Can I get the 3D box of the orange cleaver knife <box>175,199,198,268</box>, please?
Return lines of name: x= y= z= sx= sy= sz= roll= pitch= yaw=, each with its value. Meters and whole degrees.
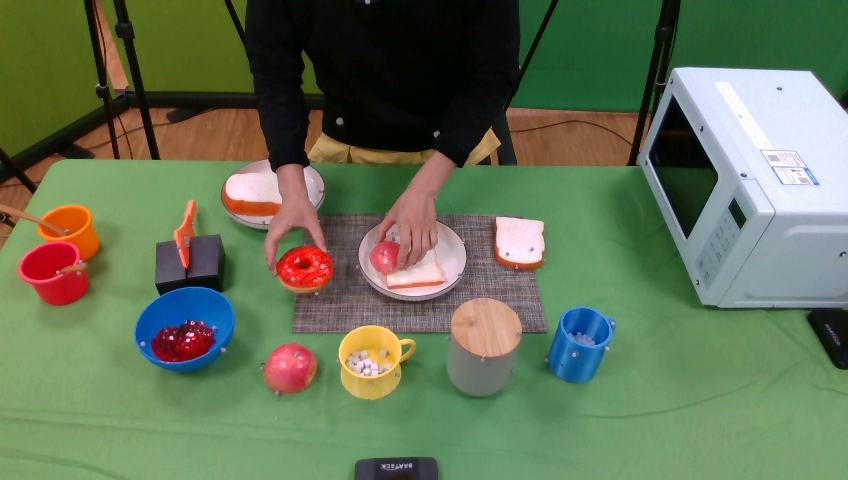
orange cleaver knife: x=-0.438 y=-0.017 z=1.138 sx=0.012 sy=0.077 sz=0.210 roll=-14 pitch=27 yaw=-7

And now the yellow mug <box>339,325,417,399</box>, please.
yellow mug: x=-0.072 y=0.190 z=0.978 sx=0.131 sy=0.064 sz=0.099 roll=-17 pitch=50 yaw=-20

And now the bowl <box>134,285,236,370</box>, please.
bowl: x=-0.377 y=0.155 z=0.981 sx=0.151 sy=0.077 sz=0.150 roll=2 pitch=46 yaw=-2

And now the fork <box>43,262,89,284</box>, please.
fork: x=-0.599 y=0.053 z=1.013 sx=0.207 sy=0.019 sz=0.028 roll=-14 pitch=30 yaw=45

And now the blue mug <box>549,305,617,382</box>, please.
blue mug: x=0.269 y=0.166 z=0.998 sx=0.116 sy=0.106 sz=0.082 roll=-19 pitch=51 yaw=-21

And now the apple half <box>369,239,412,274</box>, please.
apple half: x=-0.065 y=0.022 z=1.118 sx=0.081 sy=0.033 sz=0.081 roll=2 pitch=48 yaw=-2

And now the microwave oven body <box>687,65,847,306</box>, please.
microwave oven body: x=0.669 y=-0.111 z=1.176 sx=0.326 sy=0.261 sz=0.439 roll=0 pitch=46 yaw=-3

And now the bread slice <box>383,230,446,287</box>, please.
bread slice: x=-0.027 y=0.034 z=1.143 sx=0.107 sy=0.018 sz=0.133 roll=-7 pitch=46 yaw=-12

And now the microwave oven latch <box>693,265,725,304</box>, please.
microwave oven latch: x=0.522 y=0.081 z=1.115 sx=0.030 sy=0.029 sz=0.078 roll=2 pitch=46 yaw=-1

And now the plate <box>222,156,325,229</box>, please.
plate: x=-0.308 y=-0.095 z=1.251 sx=0.209 sy=0.038 sz=0.208 roll=2 pitch=47 yaw=-2

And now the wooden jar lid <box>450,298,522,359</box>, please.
wooden jar lid: x=0.093 y=0.135 z=0.914 sx=0.108 sy=0.021 sz=0.107 roll=3 pitch=48 yaw=-3

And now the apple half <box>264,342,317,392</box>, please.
apple half: x=-0.214 y=0.198 z=0.970 sx=0.074 sy=0.053 sz=0.080 roll=19 pitch=48 yaw=10

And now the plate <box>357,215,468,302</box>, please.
plate: x=-0.022 y=0.037 z=1.141 sx=0.208 sy=0.039 sz=0.206 roll=2 pitch=46 yaw=-2

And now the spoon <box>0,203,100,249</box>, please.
spoon: x=-0.683 y=-0.031 z=1.088 sx=0.195 sy=0.021 sz=0.041 roll=33 pitch=33 yaw=-38

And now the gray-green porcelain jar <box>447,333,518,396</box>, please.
gray-green porcelain jar: x=0.091 y=0.178 z=0.960 sx=0.106 sy=0.127 sz=0.105 roll=2 pitch=46 yaw=-2

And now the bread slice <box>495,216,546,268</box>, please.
bread slice: x=0.194 y=0.002 z=1.205 sx=0.105 sy=0.019 sz=0.131 roll=5 pitch=45 yaw=2

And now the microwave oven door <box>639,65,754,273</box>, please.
microwave oven door: x=0.522 y=-0.147 z=1.192 sx=0.039 sy=0.245 sz=0.353 roll=0 pitch=47 yaw=-3

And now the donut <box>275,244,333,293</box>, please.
donut: x=-0.207 y=0.050 z=1.051 sx=0.099 sy=0.048 sz=0.098 roll=1 pitch=46 yaw=-1
